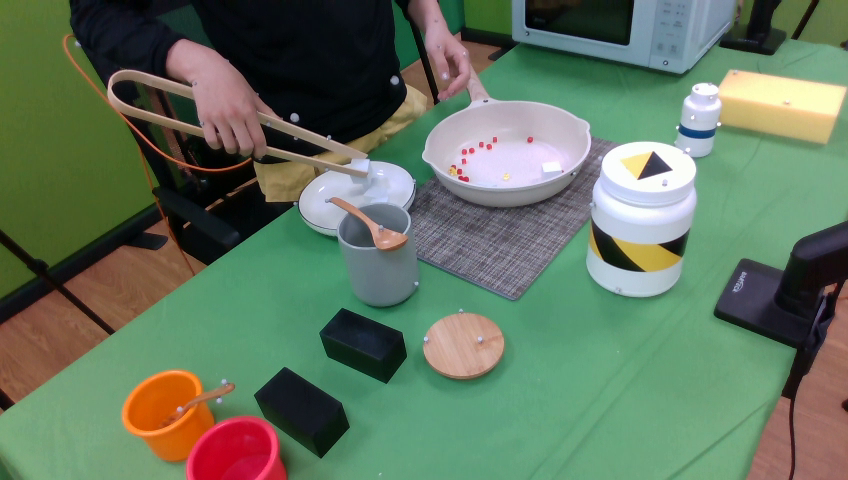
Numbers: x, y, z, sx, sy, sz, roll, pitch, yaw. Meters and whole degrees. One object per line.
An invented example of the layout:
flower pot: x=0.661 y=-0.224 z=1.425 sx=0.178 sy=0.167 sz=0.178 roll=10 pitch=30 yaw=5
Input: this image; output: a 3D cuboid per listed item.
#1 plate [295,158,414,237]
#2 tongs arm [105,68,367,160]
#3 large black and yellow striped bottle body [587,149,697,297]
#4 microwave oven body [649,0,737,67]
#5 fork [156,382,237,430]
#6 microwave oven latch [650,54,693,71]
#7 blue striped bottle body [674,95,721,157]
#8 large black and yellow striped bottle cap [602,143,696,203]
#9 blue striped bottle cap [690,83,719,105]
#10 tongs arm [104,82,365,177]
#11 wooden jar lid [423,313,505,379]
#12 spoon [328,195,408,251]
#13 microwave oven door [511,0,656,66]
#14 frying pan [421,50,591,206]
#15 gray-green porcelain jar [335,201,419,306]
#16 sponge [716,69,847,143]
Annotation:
plate: x=-0.118 y=-0.070 z=1.055 sx=0.207 sy=0.039 sz=0.206 roll=-5 pitch=40 yaw=5
tongs arm: x=-0.267 y=-0.176 z=0.916 sx=0.388 sy=0.026 sz=0.050 roll=19 pitch=67 yaw=-26
large black and yellow striped bottle body: x=0.298 y=-0.026 z=0.835 sx=0.131 sy=0.185 sz=0.130 roll=-4 pitch=41 yaw=4
microwave oven body: x=0.475 y=-0.602 z=1.411 sx=0.438 sy=0.261 sz=0.327 roll=23 pitch=50 yaw=32
fork: x=-0.262 y=0.189 z=0.690 sx=0.018 sy=0.206 sz=0.028 roll=49 pitch=43 yaw=-7
microwave oven latch: x=0.531 y=-0.386 z=1.301 sx=0.078 sy=0.029 sz=0.030 roll=26 pitch=51 yaw=33
blue striped bottle body: x=0.486 y=-0.213 z=1.072 sx=0.063 sy=0.121 sz=0.063 roll=-4 pitch=41 yaw=4
large black and yellow striped bottle cap: x=0.289 y=-0.088 z=0.779 sx=0.115 sy=0.019 sz=0.114 roll=-5 pitch=39 yaw=4
blue striped bottle cap: x=0.481 y=-0.251 z=1.038 sx=0.044 sy=0.021 sz=0.044 roll=-5 pitch=39 yaw=5
tongs arm: x=-0.269 y=-0.154 z=0.908 sx=0.391 sy=0.027 sz=0.028 roll=15 pitch=72 yaw=-27
wooden jar lid: x=0.053 y=0.142 z=0.800 sx=0.108 sy=0.021 sz=0.108 roll=-5 pitch=39 yaw=4
spoon: x=-0.083 y=-0.029 z=0.829 sx=0.042 sy=0.022 sz=0.192 roll=-32 pitch=43 yaw=-21
microwave oven door: x=0.350 y=-0.539 z=1.349 sx=0.353 sy=0.245 sz=0.039 roll=24 pitch=50 yaw=31
frying pan: x=0.127 y=-0.233 z=1.154 sx=0.307 sy=0.103 sz=0.484 roll=-11 pitch=49 yaw=-5
gray-green porcelain jar: x=-0.064 y=0.024 z=0.872 sx=0.106 sy=0.127 sz=0.105 roll=-4 pitch=41 yaw=4
sponge: x=0.663 y=-0.256 z=1.142 sx=0.205 sy=0.061 sz=0.118 roll=19 pitch=47 yaw=28
